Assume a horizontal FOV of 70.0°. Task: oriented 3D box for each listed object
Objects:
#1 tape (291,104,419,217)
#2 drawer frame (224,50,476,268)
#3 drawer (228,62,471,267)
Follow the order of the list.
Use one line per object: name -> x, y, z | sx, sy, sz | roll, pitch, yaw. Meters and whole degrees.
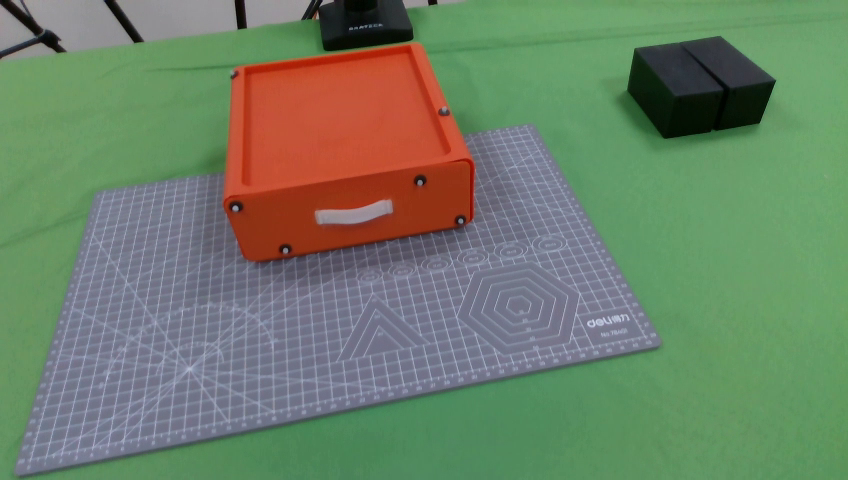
tape -> -0.065, -0.077, 0.573 | 0.117, 0.053, 0.115 | -2, 44, 3
drawer frame -> -0.074, -0.085, 0.570 | 0.202, 0.083, 0.211 | -11, 43, -6
drawer -> -0.073, -0.082, 0.570 | 0.195, 0.074, 0.209 | -11, 43, -5
